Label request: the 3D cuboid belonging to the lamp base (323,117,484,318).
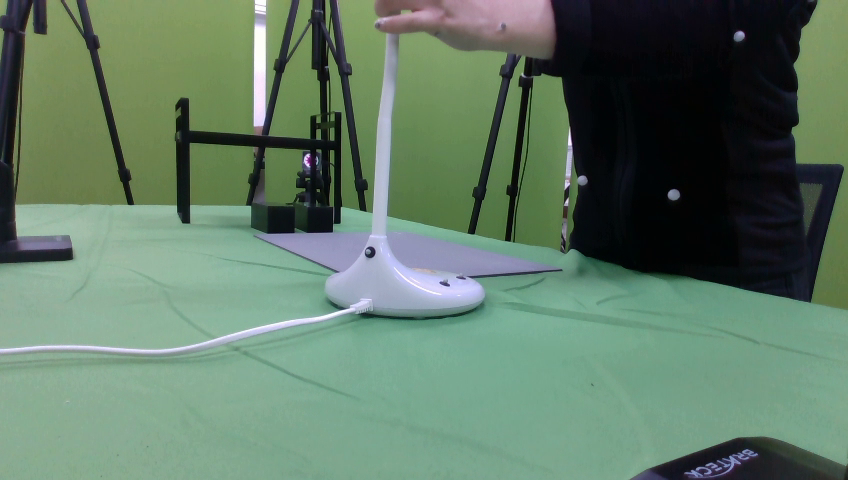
[{"bbox_3d":[-0.021,-0.025,0.582,0.160,0.180,0.179,5,10,16],"label":"lamp base"}]
